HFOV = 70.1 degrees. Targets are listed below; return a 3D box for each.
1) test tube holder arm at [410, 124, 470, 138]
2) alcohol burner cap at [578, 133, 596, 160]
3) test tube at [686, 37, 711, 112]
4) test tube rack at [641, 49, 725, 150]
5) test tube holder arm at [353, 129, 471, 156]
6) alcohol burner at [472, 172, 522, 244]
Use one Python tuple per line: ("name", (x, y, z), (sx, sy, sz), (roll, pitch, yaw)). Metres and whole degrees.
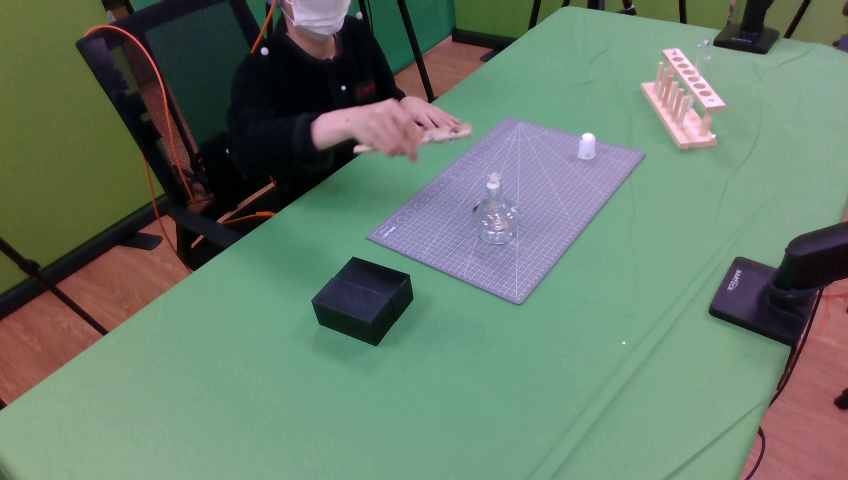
("test tube holder arm", (0.022, -0.151, 0.858), (0.087, 0.015, 0.010), (-7, 79, 19))
("alcohol burner cap", (0.301, -0.174, 1.111), (0.034, 0.048, 0.033), (-5, 40, 4))
("test tube", (0.509, -0.306, 1.128), (0.017, 0.151, 0.017), (-3, 45, 3))
("test tube rack", (0.495, -0.279, 1.175), (0.067, 0.085, 0.241), (-5, 41, 3))
("test tube holder arm", (-0.020, -0.140, 0.871), (0.178, 0.015, 0.013), (-8, 78, 18))
("alcohol burner", (0.112, -0.053, 0.942), (0.078, 0.119, 0.077), (-6, 40, 5))
